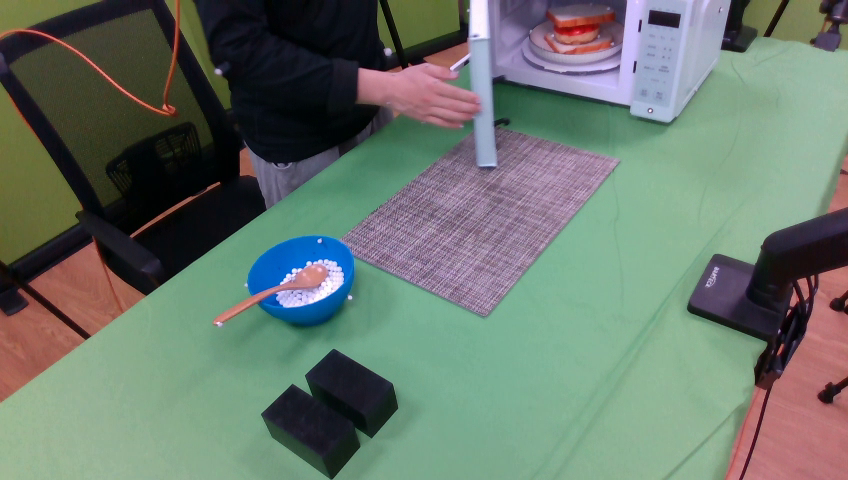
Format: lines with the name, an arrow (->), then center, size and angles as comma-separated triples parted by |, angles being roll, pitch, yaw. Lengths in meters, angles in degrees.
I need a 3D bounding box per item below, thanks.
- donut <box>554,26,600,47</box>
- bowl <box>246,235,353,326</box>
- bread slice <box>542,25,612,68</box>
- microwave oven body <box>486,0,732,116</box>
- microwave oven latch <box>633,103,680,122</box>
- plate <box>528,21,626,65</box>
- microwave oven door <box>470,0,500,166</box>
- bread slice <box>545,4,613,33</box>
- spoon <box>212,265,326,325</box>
donut -> 0.328, -0.451, 1.296 | 0.099, 0.048, 0.098 | -6, 45, 6
bowl -> -0.170, 0.070, 0.868 | 0.151, 0.077, 0.150 | -4, 41, 4
bread slice -> 0.337, -0.429, 1.315 | 0.134, 0.018, 0.106 | -24, 51, -1
microwave oven body -> 0.377, -0.462, 1.267 | 0.438, 0.261, 0.327 | 21, 48, 30
microwave oven latch -> 0.443, -0.249, 1.157 | 0.078, 0.029, 0.030 | 21, 49, 30
plate -> 0.332, -0.431, 1.318 | 0.207, 0.039, 0.206 | -4, 41, 4
microwave oven door -> 0.114, -0.339, 1.154 | 0.039, 0.245, 0.354 | -3, 40, 5
bread slice -> 0.330, -0.472, 1.279 | 0.131, 0.019, 0.104 | -11, 39, 0
spoon -> -0.208, 0.072, 0.822 | 0.041, 0.021, 0.195 | 26, 29, 27
